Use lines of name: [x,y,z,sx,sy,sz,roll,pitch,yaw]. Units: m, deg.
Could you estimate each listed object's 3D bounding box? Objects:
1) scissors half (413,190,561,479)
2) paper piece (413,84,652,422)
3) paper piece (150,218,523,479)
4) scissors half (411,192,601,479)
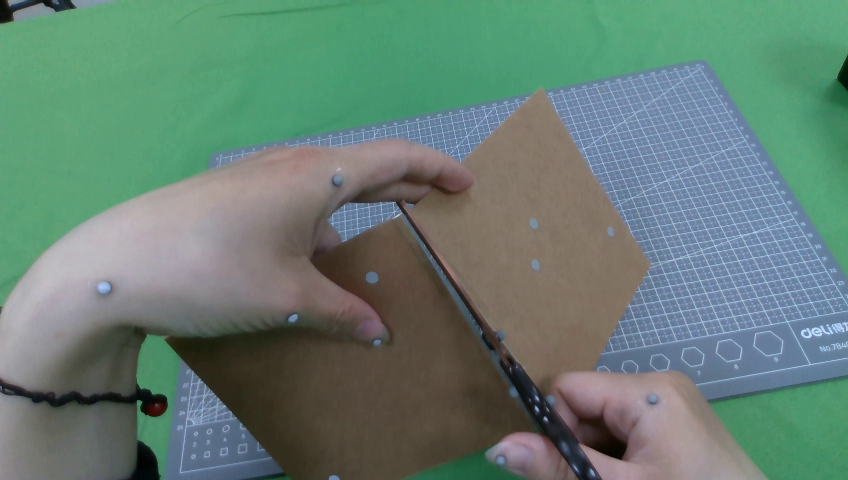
scissors half: [0.038,0.054,0.280,0.013,0.176,0.040,-29,12,-3]
paper piece: [0.071,0.001,0.328,0.004,0.136,0.135,-18,22,51]
paper piece: [-0.036,0.073,0.305,0.138,0.137,0.008,-30,25,6]
scissors half: [0.040,0.054,0.261,0.013,0.040,0.175,-30,87,-8]
